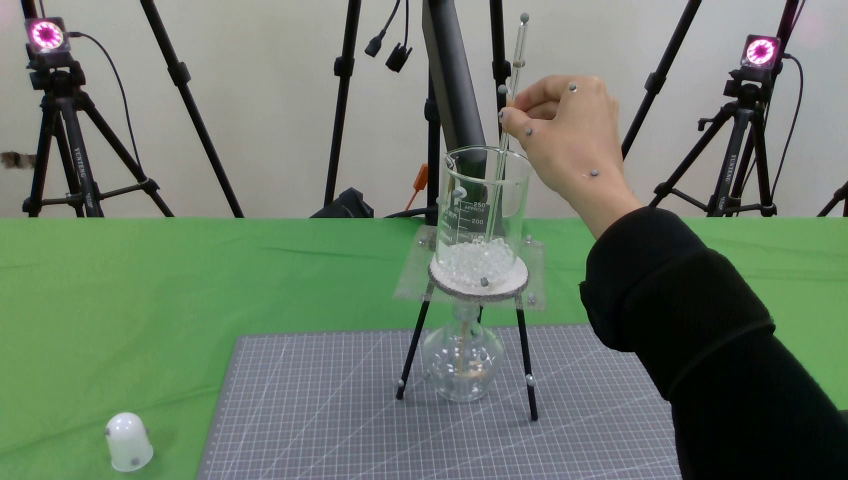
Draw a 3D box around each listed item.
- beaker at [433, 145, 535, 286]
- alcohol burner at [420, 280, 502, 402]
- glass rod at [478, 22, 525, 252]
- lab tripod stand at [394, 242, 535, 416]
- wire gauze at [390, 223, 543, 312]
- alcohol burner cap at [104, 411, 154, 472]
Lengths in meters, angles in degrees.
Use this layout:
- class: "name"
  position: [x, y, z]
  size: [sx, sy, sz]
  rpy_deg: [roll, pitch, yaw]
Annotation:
- class: "beaker"
  position: [0.043, -0.020, 0.502]
  size: [0.083, 0.101, 0.074]
  rpy_deg: [28, 38, 35]
- class: "alcohol burner"
  position: [0.035, 0.089, 0.561]
  size: [0.078, 0.120, 0.077]
  rpy_deg: [1, 28, 0]
- class: "glass rod"
  position: [0.060, -0.072, 0.485]
  size: [0.008, 0.201, 0.008]
  rpy_deg: [4, 35, -3]
- class: "lab tripod stand"
  position: [0.047, 0.080, 0.557]
  size: [0.148, 0.132, 0.147]
  rpy_deg: [4, 29, -2]
- class: "wire gauze"
  position: [0.042, 0.023, 0.525]
  size: [0.121, 0.011, 0.124]
  rpy_deg: [6, 32, 7]
- class: "alcohol burner cap"
  position: [-0.242, 0.161, 0.492]
  size: [0.034, 0.048, 0.033]
  rpy_deg: [1, 29, 0]
